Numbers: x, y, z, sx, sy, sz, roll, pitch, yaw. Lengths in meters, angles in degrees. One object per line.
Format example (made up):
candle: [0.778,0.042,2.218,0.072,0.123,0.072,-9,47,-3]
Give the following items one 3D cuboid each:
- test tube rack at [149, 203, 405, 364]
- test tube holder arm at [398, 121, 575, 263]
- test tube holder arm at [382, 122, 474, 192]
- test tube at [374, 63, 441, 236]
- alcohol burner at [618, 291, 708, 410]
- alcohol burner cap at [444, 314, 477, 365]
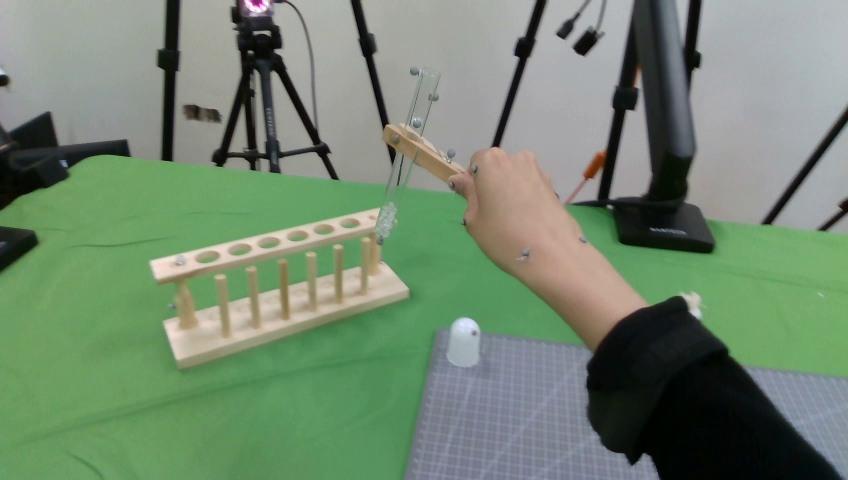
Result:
test tube rack: [-0.140,0.038,0.622,0.243,0.086,0.066,-15,36,-27]
test tube holder arm: [0.039,-0.040,0.442,0.013,0.015,0.177,-20,50,-43]
test tube holder arm: [0.004,-0.063,0.457,0.087,0.015,0.010,35,36,22]
test tube: [-0.015,-0.066,0.478,0.017,0.151,0.017,14,31,-8]
alcohol burner: [0.215,0.092,0.535,0.078,0.120,0.077,3,34,-2]
alcohol burner cap: [0.037,0.093,0.585,0.034,0.048,0.033,3,33,-1]
